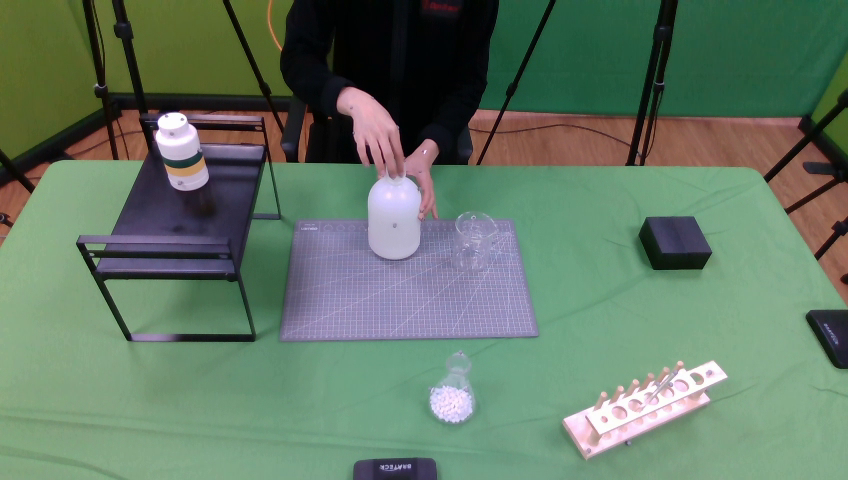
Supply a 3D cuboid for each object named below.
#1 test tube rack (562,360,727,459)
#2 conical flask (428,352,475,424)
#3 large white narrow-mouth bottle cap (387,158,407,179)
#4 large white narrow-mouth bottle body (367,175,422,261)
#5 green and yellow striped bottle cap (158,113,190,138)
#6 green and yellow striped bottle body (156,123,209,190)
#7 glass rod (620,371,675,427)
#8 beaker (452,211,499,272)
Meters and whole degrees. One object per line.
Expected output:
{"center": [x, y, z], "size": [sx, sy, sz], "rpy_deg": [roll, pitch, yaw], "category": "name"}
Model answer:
{"center": [0.341, 0.247, 0.940], "size": [0.243, 0.085, 0.066], "rpy_deg": [-16, 49, -18], "category": "test tube rack"}
{"center": [0.046, 0.220, 0.920], "size": [0.075, 0.122, 0.075], "rpy_deg": [2, 46, -2], "category": "conical flask"}
{"center": [-0.047, -0.125, 1.061], "size": [0.038, 0.024, 0.037], "rpy_deg": [3, 45, -3], "category": "large white narrow-mouth bottle cap"}
{"center": [-0.055, -0.058, 1.128], "size": [0.102, 0.195, 0.101], "rpy_deg": [3, 45, -3], "category": "large white narrow-mouth bottle body"}
{"center": [-0.393, -0.180, 0.951], "size": [0.045, 0.020, 0.045], "rpy_deg": [2, 44, -2], "category": "green and yellow striped bottle cap"}
{"center": [-0.395, -0.145, 0.989], "size": [0.063, 0.120, 0.063], "rpy_deg": [2, 46, -2], "category": "green and yellow striped bottle body"}
{"center": [0.316, 0.230, 0.863], "size": [0.008, 0.200, 0.008], "rpy_deg": [3, 54, -3], "category": "glass rod"}
{"center": [0.093, 0.006, 1.141], "size": [0.084, 0.101, 0.073], "rpy_deg": [8, 46, 3], "category": "beaker"}
